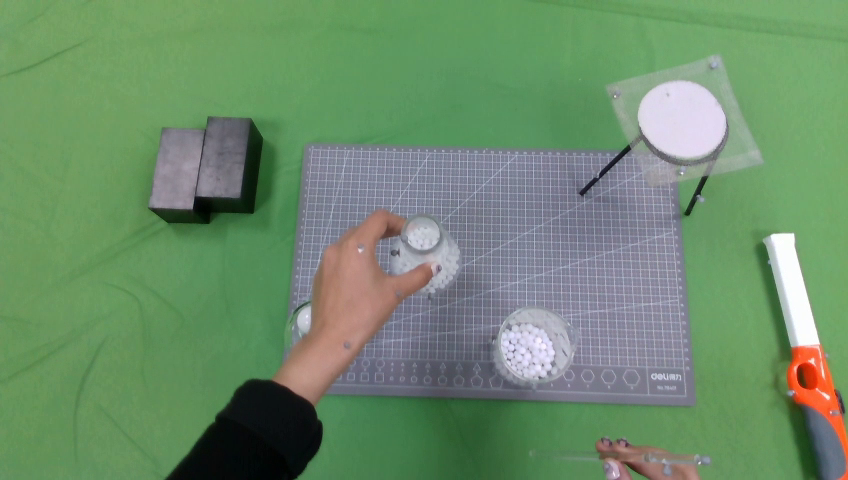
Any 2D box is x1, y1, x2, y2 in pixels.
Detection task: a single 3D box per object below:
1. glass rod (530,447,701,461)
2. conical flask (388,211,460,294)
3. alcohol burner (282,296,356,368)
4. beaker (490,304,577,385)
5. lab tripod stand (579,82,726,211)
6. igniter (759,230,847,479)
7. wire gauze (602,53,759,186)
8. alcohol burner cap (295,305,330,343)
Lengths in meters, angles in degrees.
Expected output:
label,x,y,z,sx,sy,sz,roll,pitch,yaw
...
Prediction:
label,x,y,z,sx,sy,sz,roll,pitch,yaw
glass rod,0.134,0.164,0.463,0.008,0.200,0.008,7,71,-20
conical flask,-0.001,0.007,0.578,0.075,0.122,0.075,0,77,1
alcohol burner,-0.110,0.092,0.623,0.078,0.120,0.077,0,72,-1
beaker,0.108,0.110,0.624,0.084,0.101,0.073,-16,74,-4
lab tripod stand,0.254,-0.098,0.666,0.148,0.132,0.147,0,75,0
igniter,0.412,0.123,0.657,0.057,0.025,0.275,-2,74,-11
wire gauze,0.255,-0.121,0.603,0.125,0.011,0.121,-14,76,-4
alcohol burner cap,-0.110,0.079,0.589,0.034,0.048,0.033,2,67,-5
